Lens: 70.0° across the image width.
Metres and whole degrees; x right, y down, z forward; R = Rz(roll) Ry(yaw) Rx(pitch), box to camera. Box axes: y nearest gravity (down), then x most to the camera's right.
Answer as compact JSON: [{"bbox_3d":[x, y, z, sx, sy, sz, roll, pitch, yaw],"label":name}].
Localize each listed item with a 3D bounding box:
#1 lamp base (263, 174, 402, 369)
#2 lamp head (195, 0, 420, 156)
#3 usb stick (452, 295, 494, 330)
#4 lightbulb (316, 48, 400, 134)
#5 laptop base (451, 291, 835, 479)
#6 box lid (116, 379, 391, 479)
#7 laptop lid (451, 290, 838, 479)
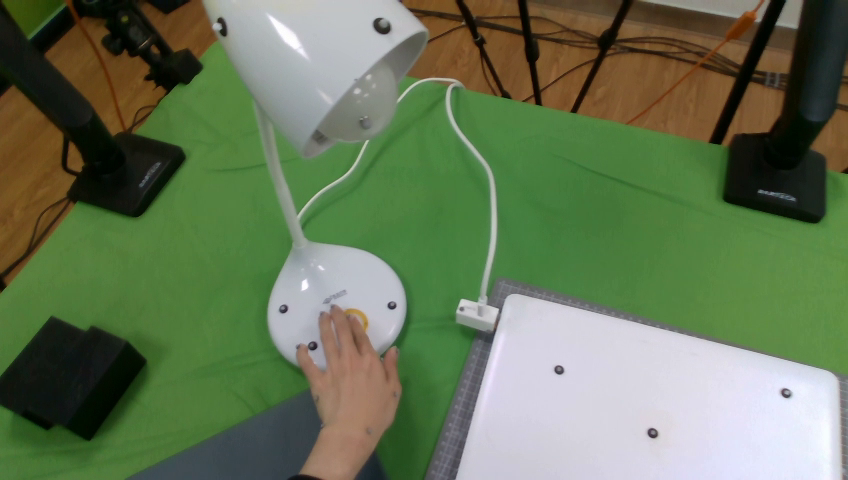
[{"bbox_3d":[-0.117,0.024,0.644,0.160,0.182,0.177,-38,60,-21],"label":"lamp base"},{"bbox_3d":[-0.081,-0.130,0.380,0.123,0.112,0.112,43,65,0],"label":"lamp head"},{"bbox_3d":[0.062,0.083,0.680,0.059,0.027,0.021,17,54,9],"label":"usb stick"},{"bbox_3d":[-0.053,-0.119,0.372,0.059,0.059,0.108,-21,97,-11],"label":"lightbulb"},{"bbox_3d":[0.224,0.194,0.615,0.353,0.023,0.234,13,61,11],"label":"laptop base"},{"bbox_3d":[-0.126,0.326,0.546,0.263,0.015,0.367,-25,60,-13],"label":"box lid"},{"bbox_3d":[0.223,0.189,0.604,0.355,0.013,0.240,15,61,12],"label":"laptop lid"}]
